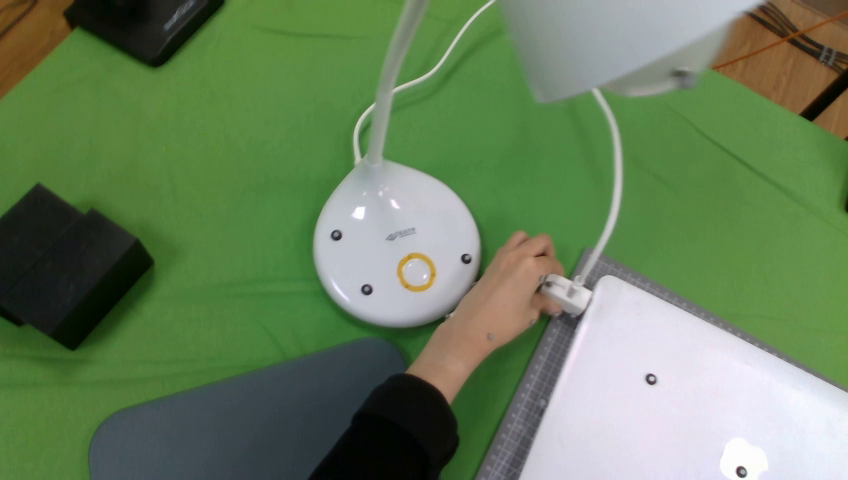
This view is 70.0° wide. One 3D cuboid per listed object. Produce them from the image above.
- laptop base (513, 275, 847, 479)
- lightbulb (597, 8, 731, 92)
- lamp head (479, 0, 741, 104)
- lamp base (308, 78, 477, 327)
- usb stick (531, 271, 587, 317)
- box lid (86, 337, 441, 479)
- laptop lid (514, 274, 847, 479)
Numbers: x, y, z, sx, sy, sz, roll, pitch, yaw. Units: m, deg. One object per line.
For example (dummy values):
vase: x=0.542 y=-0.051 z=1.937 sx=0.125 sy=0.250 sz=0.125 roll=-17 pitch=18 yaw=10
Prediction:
laptop base: x=0.273 y=0.205 z=0.541 sx=0.354 sy=0.023 sz=0.234 roll=26 pitch=69 yaw=3
lightbulb: x=0.083 y=-0.111 z=0.227 sx=0.059 sy=0.059 sz=0.108 roll=-11 pitch=108 yaw=-13
lamp head: x=0.057 y=-0.129 z=0.230 sx=0.112 sy=0.112 sz=0.123 roll=-39 pitch=101 yaw=-21
lamp base: x=-0.026 y=-0.035 z=0.509 sx=0.161 sy=0.181 sz=0.178 roll=-29 pitch=71 yaw=-19
usb stick: x=0.134 y=0.054 z=0.572 sx=0.059 sy=0.027 sz=0.021 roll=28 pitch=64 yaw=3
box lid: x=-0.094 y=0.273 z=0.461 sx=0.264 sy=0.015 sz=0.368 roll=-15 pitch=71 yaw=-14
laptop lid: x=0.273 y=0.202 z=0.530 sx=0.356 sy=0.013 sz=0.240 roll=28 pitch=68 yaw=4
